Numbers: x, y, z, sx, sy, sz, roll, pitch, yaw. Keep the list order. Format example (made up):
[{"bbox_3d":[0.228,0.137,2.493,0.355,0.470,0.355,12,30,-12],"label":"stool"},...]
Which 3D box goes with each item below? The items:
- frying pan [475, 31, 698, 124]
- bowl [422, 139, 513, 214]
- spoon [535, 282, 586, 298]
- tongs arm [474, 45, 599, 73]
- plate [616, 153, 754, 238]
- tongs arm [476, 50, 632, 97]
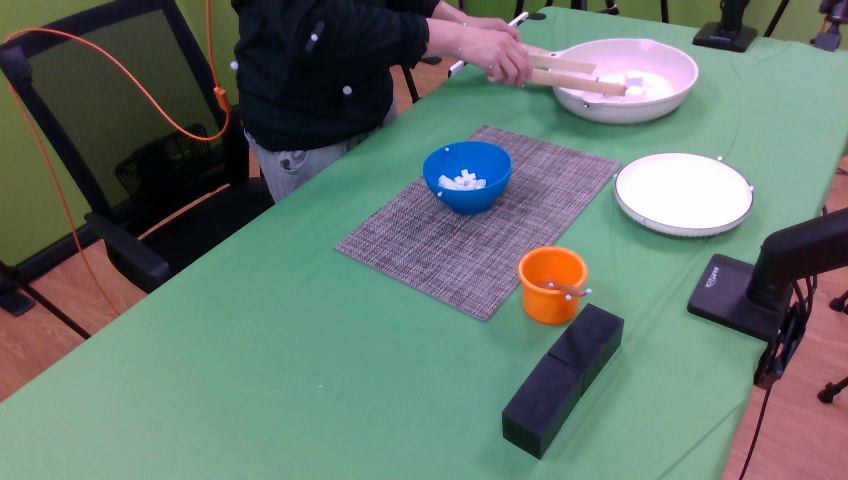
[{"bbox_3d":[0.320,-0.371,1.290,0.485,0.103,0.307,28,50,23],"label":"frying pan"},{"bbox_3d":[0.075,-0.097,1.021,0.151,0.077,0.150,-4,41,4],"label":"bowl"},{"bbox_3d":[0.176,0.063,0.774,0.041,0.194,0.021,-3,85,1],"label":"spoon"},{"bbox_3d":[0.229,-0.347,1.175,0.390,0.028,0.028,-10,52,-42],"label":"tongs arm"},{"bbox_3d":[0.416,-0.069,0.977,0.207,0.039,0.206,-4,40,4],"label":"plate"},{"bbox_3d":[0.259,-0.309,1.143,0.388,0.026,0.050,-4,45,-37],"label":"tongs arm"}]
